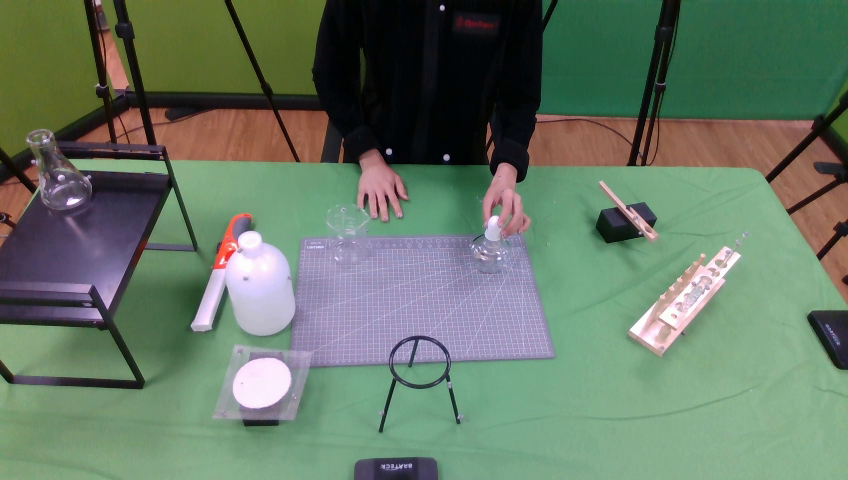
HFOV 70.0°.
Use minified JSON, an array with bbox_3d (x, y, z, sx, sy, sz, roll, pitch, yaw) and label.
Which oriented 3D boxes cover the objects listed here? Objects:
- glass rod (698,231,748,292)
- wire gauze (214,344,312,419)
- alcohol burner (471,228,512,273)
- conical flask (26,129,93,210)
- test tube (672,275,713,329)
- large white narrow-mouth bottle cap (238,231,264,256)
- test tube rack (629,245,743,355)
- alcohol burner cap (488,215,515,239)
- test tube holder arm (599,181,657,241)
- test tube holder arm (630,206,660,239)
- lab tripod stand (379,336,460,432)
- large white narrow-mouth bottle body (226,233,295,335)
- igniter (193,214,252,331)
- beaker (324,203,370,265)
[{"bbox_3d":[0.514,0.044,1.051,0.008,0.200,0.008,1,55,-1],"label":"glass rod"},{"bbox_3d":[-0.241,0.213,0.915,0.121,0.011,0.124,5,46,1],"label":"wire gauze"},{"bbox_3d":[0.128,0.005,1.132,0.078,0.120,0.077,0,47,0],"label":"alcohol burner"},{"bbox_3d":[-0.575,-0.113,0.946,0.075,0.122,0.075,2,46,-2],"label":"conical flask"},{"bbox_3d":[0.438,0.106,1.007,0.017,0.151,0.017,4,51,-4],"label":"test tube"},{"bbox_3d":[-0.266,0.006,0.932,0.038,0.024,0.037,2,46,-2],"label":"large white narrow-mouth bottle cap"},{"bbox_3d":[0.474,0.095,1.091,0.242,0.085,0.066,-34,56,-31],"label":"test tube rack"},{"bbox_3d":[0.136,-0.027,1.088,0.047,0.034,0.034,32,52,27],"label":"alcohol burner cap"},{"bbox_3d":[0.407,-0.062,1.219,0.013,0.015,0.177,-23,51,-12],"label":"test tube holder arm"},{"bbox_3d":[0.431,-0.034,1.192,0.010,0.015,0.087,-23,51,-12],"label":"test tube holder arm"},{"bbox_3d":[-0.011,0.214,0.911,0.148,0.132,0.147,1,45,0],"label":"lab tripod stand"},{"bbox_3d":[-0.270,0.065,0.995,0.102,0.195,0.101,2,46,-2],"label":"large white narrow-mouth bottle body"},{"bbox_3d":[-0.368,0.050,1.119,0.057,0.025,0.275,-3,46,8],"label":"igniter"},{"bbox_3d":[-0.142,-0.009,1.137,0.084,0.101,0.073,-2,47,-7],"label":"beaker"}]
